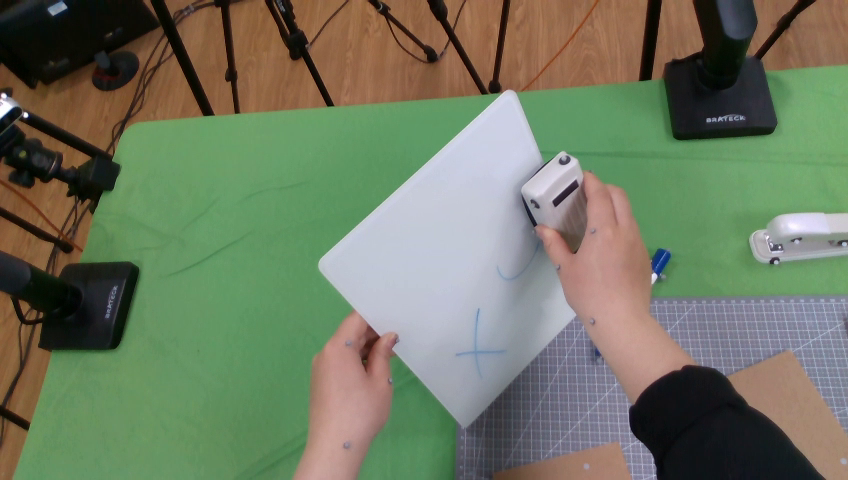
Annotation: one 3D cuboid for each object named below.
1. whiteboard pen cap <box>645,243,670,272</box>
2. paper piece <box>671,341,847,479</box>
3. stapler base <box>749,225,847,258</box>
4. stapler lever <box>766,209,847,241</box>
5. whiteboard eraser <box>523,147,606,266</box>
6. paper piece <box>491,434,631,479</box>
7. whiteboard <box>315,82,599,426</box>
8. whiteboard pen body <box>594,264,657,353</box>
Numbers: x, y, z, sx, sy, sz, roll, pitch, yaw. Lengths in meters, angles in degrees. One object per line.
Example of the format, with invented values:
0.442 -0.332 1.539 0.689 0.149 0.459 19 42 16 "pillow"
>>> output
0.266 0.021 0.690 0.018 0.018 0.033 28 73 23 "whiteboard pen cap"
0.341 0.189 0.601 0.136 0.009 0.137 -24 65 5 "paper piece"
0.433 -0.008 0.670 0.130 0.024 0.041 -7 66 6 "stapler base"
0.430 -0.019 0.648 0.118 0.040 0.026 -7 66 8 "stapler lever"
0.131 -0.030 0.568 0.055 0.114 0.041 -39 42 -6 "whiteboard eraser"
0.148 0.276 0.599 0.135 0.004 0.134 -15 63 4 "paper piece"
0.023 0.008 0.622 0.217 0.309 0.142 -42 43 -9 "whiteboard"
0.231 0.066 0.677 0.017 0.017 0.140 31 74 23 "whiteboard pen body"
